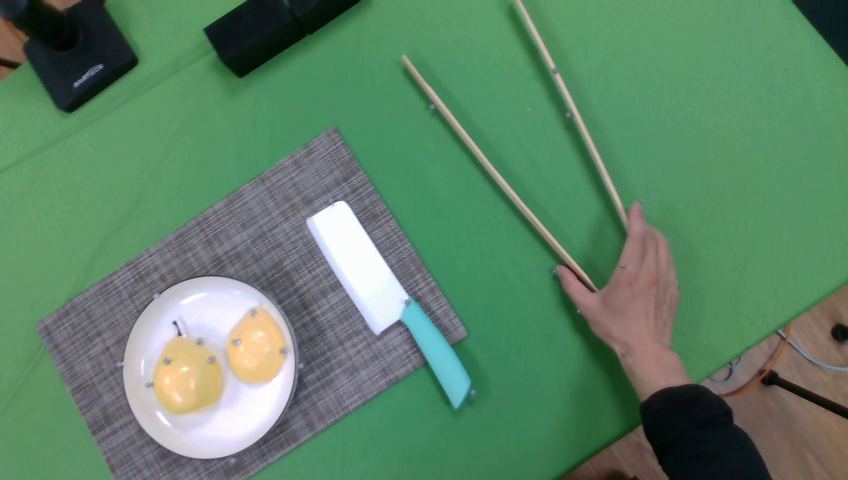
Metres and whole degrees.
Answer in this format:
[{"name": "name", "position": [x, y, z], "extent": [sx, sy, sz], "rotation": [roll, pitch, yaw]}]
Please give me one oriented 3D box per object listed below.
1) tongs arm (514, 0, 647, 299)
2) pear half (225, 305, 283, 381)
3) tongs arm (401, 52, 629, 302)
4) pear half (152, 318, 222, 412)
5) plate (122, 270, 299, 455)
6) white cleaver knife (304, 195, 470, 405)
[{"name": "tongs arm", "position": [0.164, -0.116, 0.691], "extent": [0.051, 0.026, 0.383], "rotation": [-26, 83, 4]}, {"name": "pear half", "position": [-0.199, 0.119, 0.696], "extent": [0.070, 0.031, 0.088], "rotation": [-1, 89, 2]}, {"name": "tongs arm", "position": [0.095, -0.074, 0.699], "extent": [0.028, 0.028, 0.386], "rotation": [-39, 82, -1]}, {"name": "pear half", "position": [-0.279, 0.141, 0.694], "extent": [0.076, 0.056, 0.109], "rotation": [-23, 78, -1]}, {"name": "plate", "position": [-0.243, 0.139, 0.704], "extent": [0.207, 0.039, 0.207], "rotation": [-1, 84, 6]}, {"name": "white cleaver knife", "position": [-0.045, 0.070, 0.703], "extent": [0.066, 0.021, 0.285], "rotation": [-38, 78, 11]}]
